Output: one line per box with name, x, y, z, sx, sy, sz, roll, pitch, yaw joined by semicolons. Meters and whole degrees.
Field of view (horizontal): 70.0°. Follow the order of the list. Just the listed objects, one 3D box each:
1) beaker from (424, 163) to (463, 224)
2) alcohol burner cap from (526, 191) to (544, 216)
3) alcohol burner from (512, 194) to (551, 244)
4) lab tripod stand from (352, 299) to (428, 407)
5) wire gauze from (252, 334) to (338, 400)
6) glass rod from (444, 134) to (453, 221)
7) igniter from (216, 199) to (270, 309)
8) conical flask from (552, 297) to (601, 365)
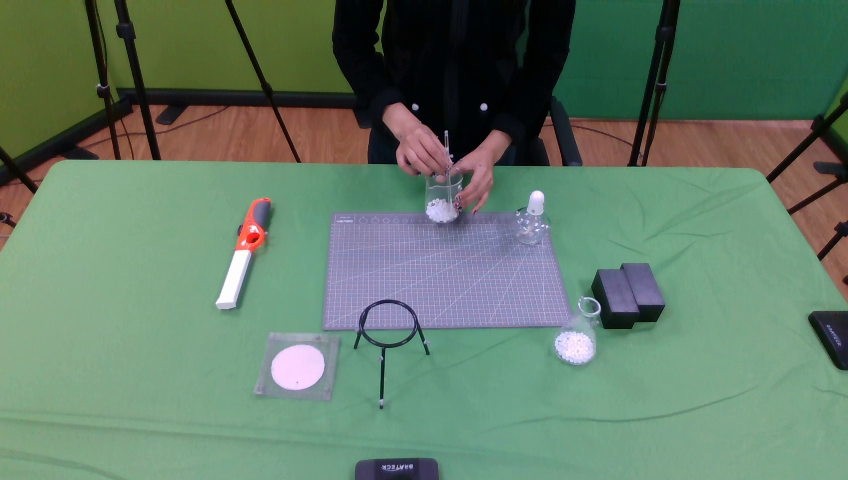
beaker;0.033;-0.087;1.187;0.073;0.101;0.084;32;51;28
alcohol burner cap;0.216;-0.073;1.170;0.034;0.048;0.033;0;42;0
alcohol burner;0.215;-0.048;1.196;0.078;0.119;0.077;4;46;-4
lab tripod stand;-0.056;0.166;0.958;0.148;0.132;0.147;3;44;-2
wire gauze;-0.209;0.204;0.996;0.125;0.011;0.120;3;45;1
glass rod;0.046;-0.112;1.136;0.008;0.201;0.008;-3;41;3
igniter;-0.342;0.016;1.153;0.057;0.025;0.275;-4;45;7
conical flask;0.261;0.147;1.009;0.075;0.122;0.075;2;46;-2
